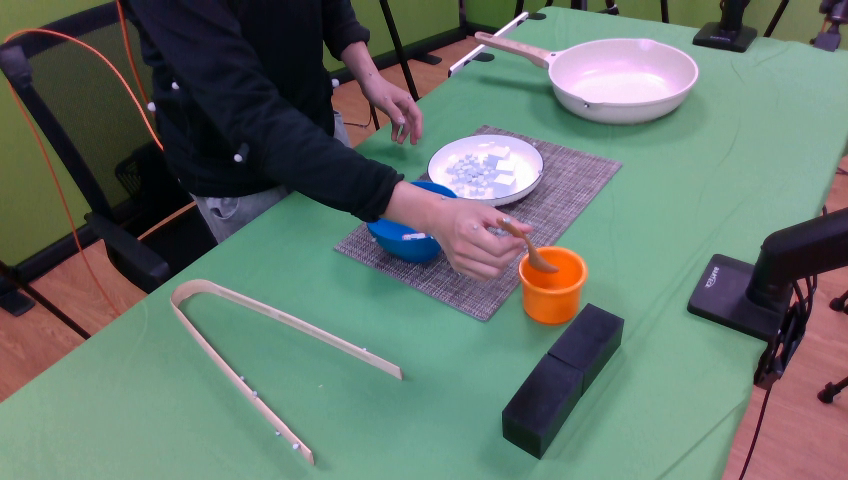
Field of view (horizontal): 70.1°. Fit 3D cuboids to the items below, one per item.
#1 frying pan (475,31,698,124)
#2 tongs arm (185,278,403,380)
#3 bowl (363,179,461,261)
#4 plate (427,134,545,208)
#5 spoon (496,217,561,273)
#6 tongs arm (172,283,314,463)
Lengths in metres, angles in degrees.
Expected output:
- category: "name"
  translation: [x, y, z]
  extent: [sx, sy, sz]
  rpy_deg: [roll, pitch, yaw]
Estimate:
- category: "frying pan"
  translation: [0.320, -0.371, 1.290]
  extent: [0.485, 0.103, 0.307]
  rpy_deg: [28, 50, 23]
- category: "tongs arm"
  translation: [-0.193, 0.120, 0.853]
  extent: [0.385, 0.028, 0.028]
  rpy_deg: [18, 49, 26]
- category: "bowl"
  translation: [-0.014, -0.020, 0.943]
  extent: [0.151, 0.077, 0.150]
  rpy_deg: [-4, 41, 4]
- category: "plate"
  translation: [0.110, -0.119, 1.073]
  extent: [0.207, 0.039, 0.206]
  rpy_deg: [-4, 41, 4]
- category: "spoon"
  translation: [0.125, 0.007, 0.734]
  extent: [0.041, 0.195, 0.021]
  rpy_deg: [15, 76, 33]
- category: "tongs arm"
  translation: [-0.246, 0.161, 0.806]
  extent: [0.381, 0.026, 0.051]
  rpy_deg: [29, 51, 36]
